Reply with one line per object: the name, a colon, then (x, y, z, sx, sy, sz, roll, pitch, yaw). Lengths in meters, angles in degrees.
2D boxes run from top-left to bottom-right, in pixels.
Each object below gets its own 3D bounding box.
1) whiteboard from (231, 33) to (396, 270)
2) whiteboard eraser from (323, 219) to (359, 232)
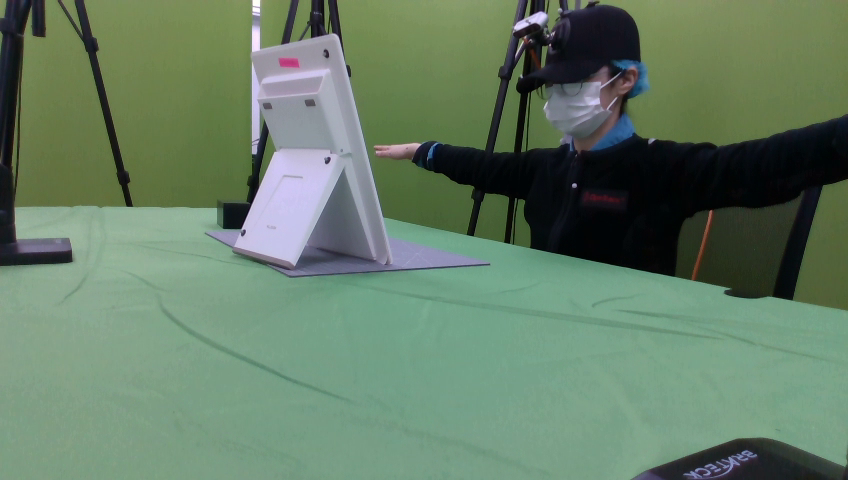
whiteboard: (-0.193, -0.094, 0.805, 0.144, 0.305, 0.216, -29, 25, -35)
whiteboard eraser: (-0.162, -0.030, 1.195, 0.041, 0.019, 0.101, 5, 9, 21)
